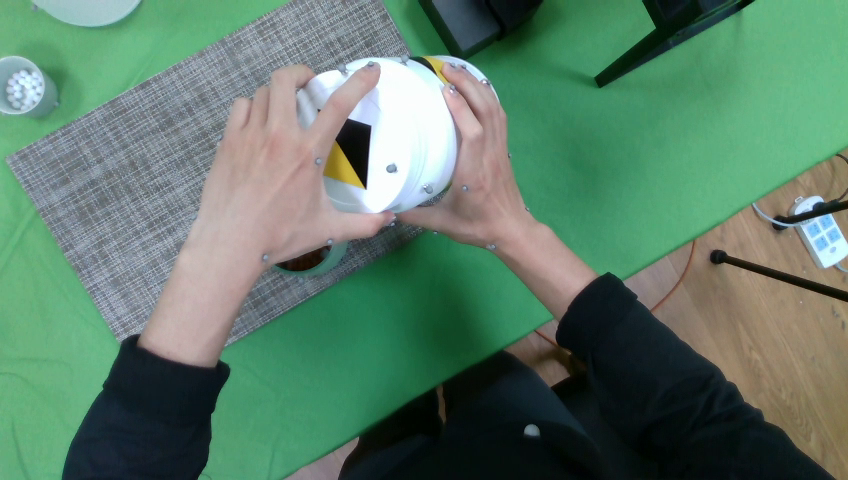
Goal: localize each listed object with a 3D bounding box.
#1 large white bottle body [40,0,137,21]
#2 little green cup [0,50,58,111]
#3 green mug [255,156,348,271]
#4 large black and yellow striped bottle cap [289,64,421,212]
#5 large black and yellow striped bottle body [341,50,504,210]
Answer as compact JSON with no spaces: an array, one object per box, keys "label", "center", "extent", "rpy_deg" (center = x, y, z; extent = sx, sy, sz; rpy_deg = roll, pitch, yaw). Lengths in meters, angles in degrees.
[{"label":"large white bottle body","center":[-0.363,-0.305,0.582],"extent":[0.131,0.184,0.130],"rpy_deg":[0,91,-4]},{"label":"little green cup","center":[-0.431,-0.168,0.653],"extent":[0.061,0.038,0.061],"rpy_deg":[0,92,-6]},{"label":"green mug","center":[-0.134,-0.028,0.645],"extent":[0.092,0.105,0.125],"rpy_deg":[-14,92,-4]},{"label":"large black and yellow striped bottle cap","center":[-0.057,-0.078,0.474],"extent":[0.114,0.019,0.115],"rpy_deg":[10,112,26]},{"label":"large black and yellow striped bottle body","center":[-0.018,-0.102,0.547],"extent":[0.130,0.184,0.131],"rpy_deg":[9,111,25]}]
